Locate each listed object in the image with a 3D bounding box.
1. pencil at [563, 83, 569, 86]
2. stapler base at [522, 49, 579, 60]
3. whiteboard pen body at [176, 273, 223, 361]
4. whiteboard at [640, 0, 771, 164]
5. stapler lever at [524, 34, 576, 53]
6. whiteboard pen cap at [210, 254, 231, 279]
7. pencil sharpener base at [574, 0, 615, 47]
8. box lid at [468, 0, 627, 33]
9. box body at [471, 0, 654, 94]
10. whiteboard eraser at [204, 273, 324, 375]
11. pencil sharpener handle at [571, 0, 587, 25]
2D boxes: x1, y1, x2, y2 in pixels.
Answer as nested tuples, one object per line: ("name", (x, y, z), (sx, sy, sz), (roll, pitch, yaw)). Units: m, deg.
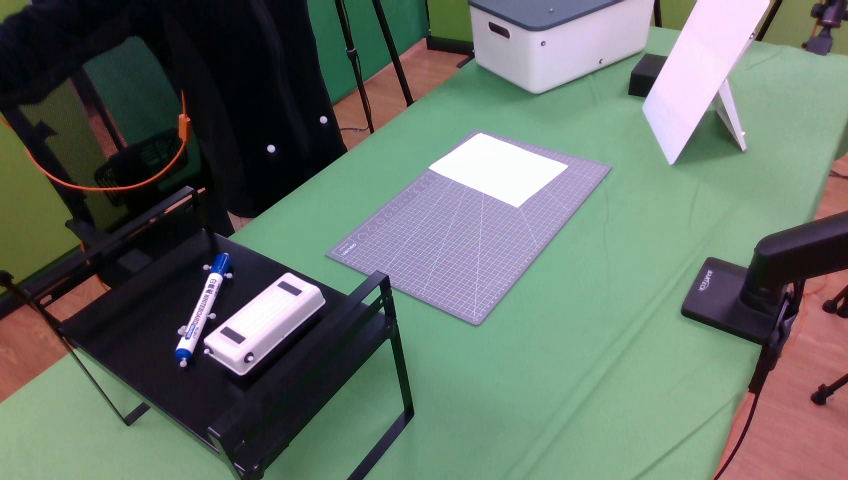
("pencil", (0.248, -0.393, 1.398), (0.193, 0.012, 0.012), (30, 52, 24))
("stapler base", (0.300, -0.442, 1.433), (0.130, 0.024, 0.041), (3, 20, 18))
("whiteboard pen body", (-0.237, 0.072, 0.652), (0.017, 0.017, 0.140), (-3, 40, 5))
("whiteboard", (0.543, -0.299, 1.076), (0.144, 0.305, 0.216), (12, 40, -7))
("stapler lever", (0.297, -0.463, 1.425), (0.117, 0.040, 0.027), (5, 21, 17))
("whiteboard pen cap", (-0.234, 0.032, 0.695), (0.018, 0.018, 0.033), (-4, 40, 4))
("pencil sharpener base", (0.411, -0.536, 1.469), (0.061, 0.107, 0.076), (-31, 45, -26))
("box lid", (0.312, -0.554, 1.358), (0.373, 0.015, 0.261), (-26, 44, -20))
("box body", (0.319, -0.498, 1.405), (0.365, 0.161, 0.252), (-26, 43, -21))
("whiteboard eraser", (-0.157, 0.084, 0.605), (0.055, 0.042, 0.113), (24, 49, 30))
("pencil sharpener handle", (0.378, -0.568, 1.493), (0.036, 0.068, 0.030), (-32, 45, -26))
